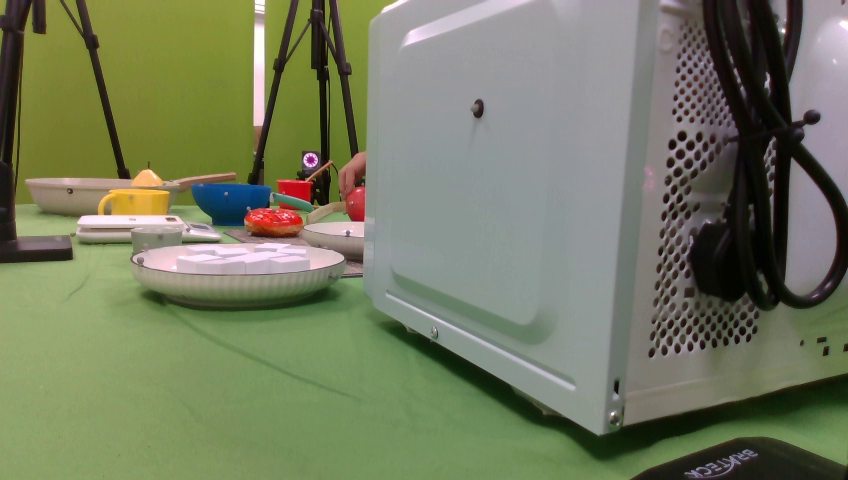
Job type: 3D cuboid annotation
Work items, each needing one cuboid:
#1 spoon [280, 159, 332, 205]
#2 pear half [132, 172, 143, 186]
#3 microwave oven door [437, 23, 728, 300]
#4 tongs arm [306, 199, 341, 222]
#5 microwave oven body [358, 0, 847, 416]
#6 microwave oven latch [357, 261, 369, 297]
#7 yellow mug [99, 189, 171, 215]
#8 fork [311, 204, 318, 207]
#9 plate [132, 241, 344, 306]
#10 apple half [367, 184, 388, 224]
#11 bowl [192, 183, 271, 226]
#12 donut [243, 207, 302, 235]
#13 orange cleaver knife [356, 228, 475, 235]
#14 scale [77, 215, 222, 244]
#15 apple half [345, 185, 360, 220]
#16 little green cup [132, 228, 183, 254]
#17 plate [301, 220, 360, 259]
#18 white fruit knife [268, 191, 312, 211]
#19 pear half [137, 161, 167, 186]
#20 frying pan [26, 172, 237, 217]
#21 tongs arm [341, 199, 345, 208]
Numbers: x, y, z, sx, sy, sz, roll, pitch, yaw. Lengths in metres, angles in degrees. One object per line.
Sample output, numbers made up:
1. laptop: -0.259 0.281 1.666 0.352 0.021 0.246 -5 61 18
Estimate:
1. spoon: -0.316 -0.159 1.640 0.194 0.022 0.041 -50 31 -20
2. pear half: -0.638 -0.113 1.361 0.031 0.088 0.070 5 10 4
3. microwave oven door: 0.180 -0.072 0.621 0.358 0.243 0.039 -2 8 -29
4. tongs arm: -0.234 -0.070 1.414 0.028 0.028 0.387 -4 8 1
5. microwave oven body: 0.211 -0.047 0.474 0.444 0.260 0.324 -1 7 -28
6. microwave oven latch: -0.019 0.033 0.530 0.079 0.029 0.030 -1 7 -26
7. yellow mug: -0.518 -0.055 1.080 0.099 0.064 0.131 6 9 26
8. fork: -0.356 -0.105 1.526 0.208 0.018 0.028 16 -5 -41
9. plate: -0.187 0.033 0.625 0.208 0.039 0.207 2 8 0
10. apple half: -0.083 -0.068 1.129 0.033 0.081 0.081 -2 7 8
11. bowl: -0.382 -0.071 1.202 0.151 0.077 0.151 3 7 0
12. donut: -0.261 -0.032 1.043 0.099 0.048 0.099 4 9 0
13. orange cleaver knife: -0.017 -0.016 1.080 0.211 0.012 0.077 -1 1 -2
14. scale: -0.434 -0.019 0.963 0.202 0.031 0.148 -1 9 -27
15. apple half: -0.121 -0.067 1.134 0.053 0.074 0.081 -4 13 8
16. little green cup: -0.342 0.006 0.779 0.061 0.038 0.061 2 8 0
17. plate: -0.077 -0.002 0.893 0.209 0.038 0.209 3 8 0
18. white fruit knife: -0.364 -0.105 1.464 0.208 0.027 0.016 15 0 -34
19. pear half: -0.602 -0.120 1.354 0.056 0.110 0.076 4 11 6
20. frying pan: -0.624 -0.118 1.387 0.305 0.102 0.490 8 17 32
21. tongs arm: -0.149 -0.071 1.429 0.051 0.026 0.383 -3 9 -15
